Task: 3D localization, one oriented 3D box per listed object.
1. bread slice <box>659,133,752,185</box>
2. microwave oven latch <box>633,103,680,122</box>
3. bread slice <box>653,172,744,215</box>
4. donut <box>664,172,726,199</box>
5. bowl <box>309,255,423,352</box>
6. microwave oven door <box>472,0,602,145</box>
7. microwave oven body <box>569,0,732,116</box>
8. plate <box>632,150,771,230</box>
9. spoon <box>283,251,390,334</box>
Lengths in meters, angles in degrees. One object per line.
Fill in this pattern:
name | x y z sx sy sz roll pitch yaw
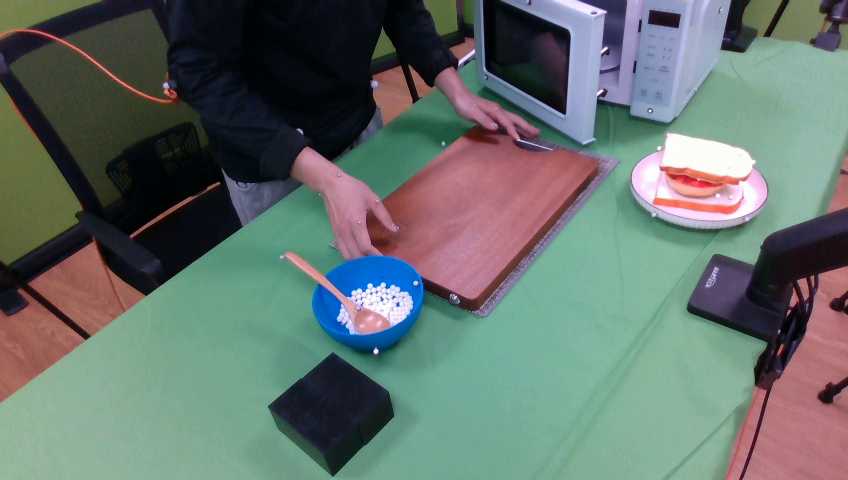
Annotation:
bread slice | 0.443 -0.126 0.951 0.134 0.018 0.107 14 43 15
microwave oven latch | 0.443 -0.249 1.157 0.078 0.029 0.030 21 49 30
bread slice | 0.452 -0.084 0.992 0.131 0.019 0.105 11 45 21
donut | 0.438 -0.104 0.972 0.099 0.048 0.098 -10 42 10
bowl | -0.072 0.098 0.820 0.151 0.077 0.150 -4 40 4
microwave oven door | 0.206 -0.362 1.166 0.039 0.245 0.352 -25 44 -20
microwave oven body | 0.377 -0.462 1.267 0.438 0.261 0.327 21 49 30
plate | 0.447 -0.081 0.988 0.207 0.039 0.206 -4 40 4
spoon | -0.121 0.070 0.812 0.193 0.022 0.042 39 64 16
